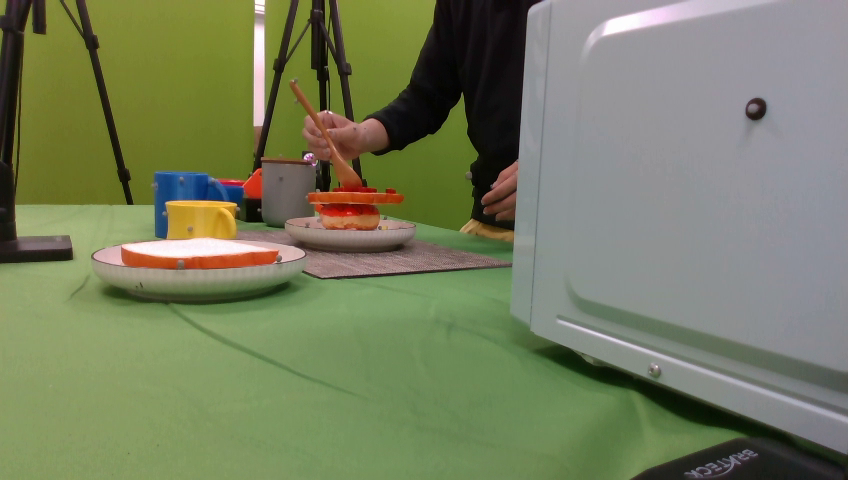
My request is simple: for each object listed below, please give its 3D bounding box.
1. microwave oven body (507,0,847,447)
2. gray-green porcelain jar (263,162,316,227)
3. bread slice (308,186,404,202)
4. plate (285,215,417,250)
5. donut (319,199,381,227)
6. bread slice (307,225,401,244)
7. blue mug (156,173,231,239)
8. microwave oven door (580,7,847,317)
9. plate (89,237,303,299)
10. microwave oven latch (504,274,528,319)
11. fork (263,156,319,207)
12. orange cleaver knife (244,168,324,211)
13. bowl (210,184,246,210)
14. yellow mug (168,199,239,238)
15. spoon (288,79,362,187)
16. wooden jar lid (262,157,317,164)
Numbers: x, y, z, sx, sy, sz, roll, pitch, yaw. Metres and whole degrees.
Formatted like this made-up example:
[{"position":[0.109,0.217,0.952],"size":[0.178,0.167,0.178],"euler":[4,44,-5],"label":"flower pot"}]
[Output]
[{"position":[0.331,-0.042,0.425],"size":[0.444,0.260,0.324],"euler":[-2,8,-31],"label":"microwave oven body"},{"position":[-0.271,-0.092,1.217],"size":[0.106,0.126,0.106],"euler":[2,7,0],"label":"gray-green porcelain jar"},{"position":[-0.113,-0.071,0.951],"size":[0.134,0.018,0.107],"euler":[-1,1,21],"label":"bread slice"},{"position":[-0.116,-0.014,0.964],"size":[0.209,0.038,0.209],"euler":[2,8,0],"label":"plate"},{"position":[-0.117,-0.042,0.965],"size":[0.099,0.048,0.099],"euler":[-9,-7,-1],"label":"donut"},{"position":[-0.103,-0.009,0.962],"size":[0.131,0.019,0.105],"euler":[1,8,25],"label":"bread slice"},{"position":[-0.381,-0.057,1.004],"size":[0.117,0.106,0.082],"euler":[1,8,-12],"label":"blue mug"},{"position":[0.295,-0.067,0.570],"size":[0.358,0.243,0.039],"euler":[-3,9,-31],"label":"microwave oven door"},{"position":[-0.233,0.029,0.637],"size":[0.208,0.039,0.207],"euler":[2,7,0],"label":"plate"},{"position":[0.100,0.041,0.471],"size":[0.079,0.029,0.030],"euler":[-1,7,-28],"label":"microwave oven latch"},{"position":[-0.331,-0.144,1.505],"size":[0.207,0.018,0.028],"euler":[-42,-20,22],"label":"fork"},{"position":[-0.300,-0.089,1.351],"size":[0.212,0.077,0.012],"euler":[28,-9,-34],"label":"orange cleaver knife"},{"position":[-0.422,-0.067,1.166],"size":[0.151,0.077,0.151],"euler":[2,7,0],"label":"bowl"},{"position":[-0.319,-0.023,0.904],"size":[0.130,0.064,0.100],"euler":[9,11,36],"label":"yellow mug"},{"position":[-0.155,-0.163,0.939],"size":[0.041,0.194,0.022],"euler":[-19,15,44],"label":"spoon"},{"position":[-0.269,-0.154,1.208],"size":[0.108,0.020,0.108],"euler":[3,4,0],"label":"wooden jar lid"}]
